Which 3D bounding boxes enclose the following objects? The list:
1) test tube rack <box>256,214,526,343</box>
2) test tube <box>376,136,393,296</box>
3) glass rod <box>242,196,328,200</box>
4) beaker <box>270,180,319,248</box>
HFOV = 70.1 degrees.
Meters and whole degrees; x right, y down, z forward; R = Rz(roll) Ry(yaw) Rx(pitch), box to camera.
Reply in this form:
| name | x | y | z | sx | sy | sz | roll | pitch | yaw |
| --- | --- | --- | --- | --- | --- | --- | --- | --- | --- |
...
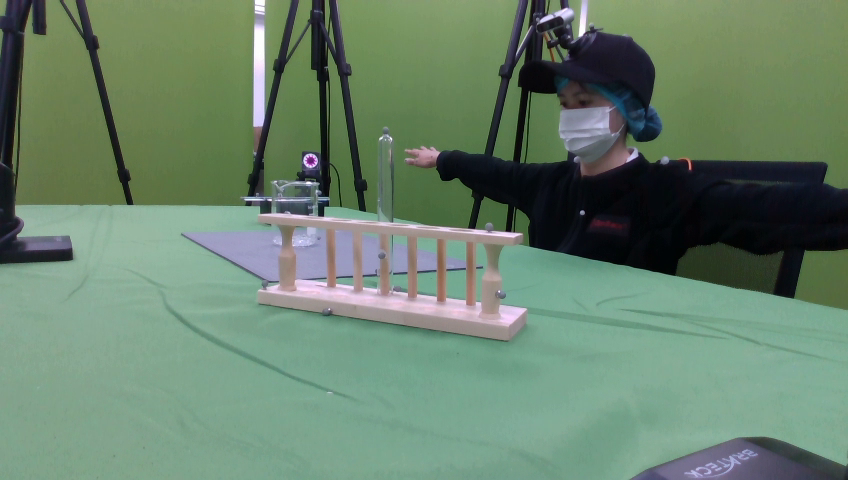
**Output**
| name | x | y | z | sx | sy | sz | roll | pitch | yaw |
| --- | --- | --- | --- | --- | --- | --- | --- | --- | --- |
| test tube rack | -0.032 | 0.027 | 0.547 | 0.241 | 0.085 | 0.067 | 5 | 7 | 22 |
| test tube | -0.037 | -0.022 | 0.565 | 0.017 | 0.150 | 0.017 | 1 | 6 | 0 |
| glass rod | -0.287 | -0.089 | 1.268 | 0.201 | 0.008 | 0.008 | -4 | 10 | -43 |
| beaker | -0.203 | -0.040 | 0.935 | 0.074 | 0.100 | 0.084 | 5 | 8 | 18 |
